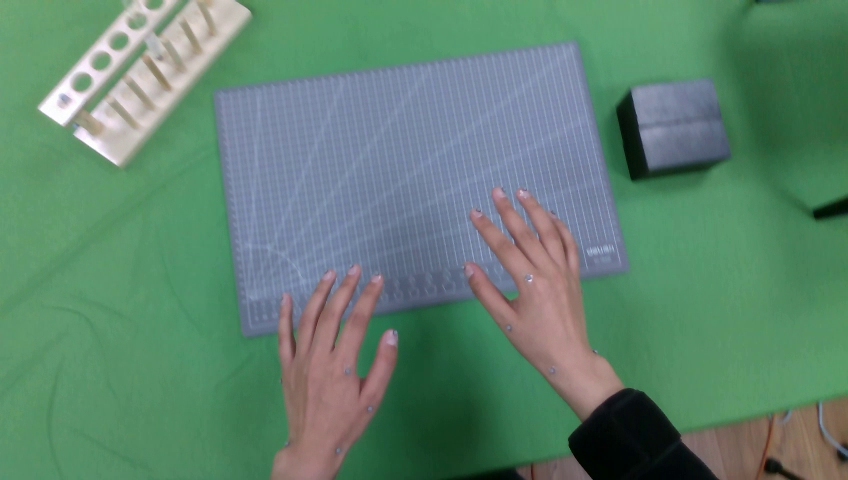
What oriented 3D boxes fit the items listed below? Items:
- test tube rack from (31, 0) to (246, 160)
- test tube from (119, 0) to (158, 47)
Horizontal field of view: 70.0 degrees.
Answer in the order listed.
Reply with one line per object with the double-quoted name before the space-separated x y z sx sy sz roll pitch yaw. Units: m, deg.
"test tube rack" -0.310 -0.215 0.681 0.066 0.085 0.242 34 80 4
"test tube" -0.311 -0.251 0.637 0.017 0.151 0.017 2 74 -5
